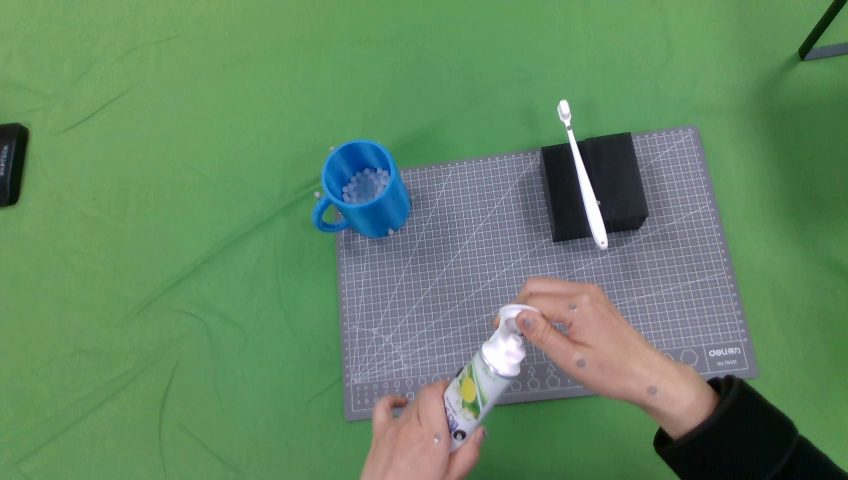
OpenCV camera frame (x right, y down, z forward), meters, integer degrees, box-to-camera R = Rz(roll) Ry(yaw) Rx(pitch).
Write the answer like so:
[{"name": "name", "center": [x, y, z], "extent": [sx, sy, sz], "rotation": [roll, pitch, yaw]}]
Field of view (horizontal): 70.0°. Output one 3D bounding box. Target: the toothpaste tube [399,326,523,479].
[{"name": "toothpaste tube", "center": [0.027, 0.133, 0.490], "extent": [0.165, 0.035, 0.054], "rotation": [-58, 39, 24]}]

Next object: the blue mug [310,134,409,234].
[{"name": "blue mug", "center": [-0.079, -0.052, 0.699], "extent": [0.116, 0.106, 0.082], "rotation": [-34, 72, -3]}]

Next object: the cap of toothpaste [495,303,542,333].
[{"name": "cap of toothpaste", "center": [0.071, 0.060, 0.460], "extent": [0.037, 0.038, 0.011], "rotation": [8, 56, 10]}]

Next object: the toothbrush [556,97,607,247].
[{"name": "toothbrush", "center": [0.174, -0.079, 0.669], "extent": [0.014, 0.017, 0.180], "rotation": [-11, 73, -1]}]
